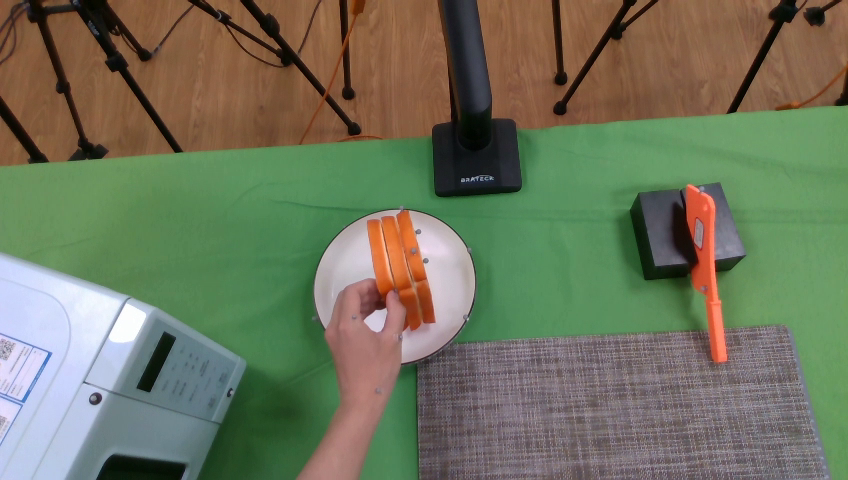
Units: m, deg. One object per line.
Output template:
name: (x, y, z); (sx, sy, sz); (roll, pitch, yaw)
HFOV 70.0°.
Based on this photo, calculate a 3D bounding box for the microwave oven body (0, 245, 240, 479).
microwave oven body: (-0.444, 0.243, 0.605); (0.325, 0.262, 0.439); (16, 71, 10)

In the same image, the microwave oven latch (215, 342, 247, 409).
microwave oven latch: (-0.240, 0.160, 0.725); (0.030, 0.030, 0.079); (17, 72, 11)

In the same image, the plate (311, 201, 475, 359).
plate: (-0.038, 0.051, 0.771); (0.207, 0.039, 0.206); (-1, 68, 4)

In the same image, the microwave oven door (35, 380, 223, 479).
microwave oven door: (-0.319, 0.317, 0.561); (0.039, 0.245, 0.354); (15, 71, 11)

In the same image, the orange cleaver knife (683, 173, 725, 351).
orange cleaver knife: (0.332, 0.025, 0.723); (0.012, 0.077, 0.212); (-9, 98, 1)

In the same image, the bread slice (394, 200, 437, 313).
bread slice: (-0.011, 0.018, 0.716); (0.018, 0.135, 0.106); (-16, 63, -2)
